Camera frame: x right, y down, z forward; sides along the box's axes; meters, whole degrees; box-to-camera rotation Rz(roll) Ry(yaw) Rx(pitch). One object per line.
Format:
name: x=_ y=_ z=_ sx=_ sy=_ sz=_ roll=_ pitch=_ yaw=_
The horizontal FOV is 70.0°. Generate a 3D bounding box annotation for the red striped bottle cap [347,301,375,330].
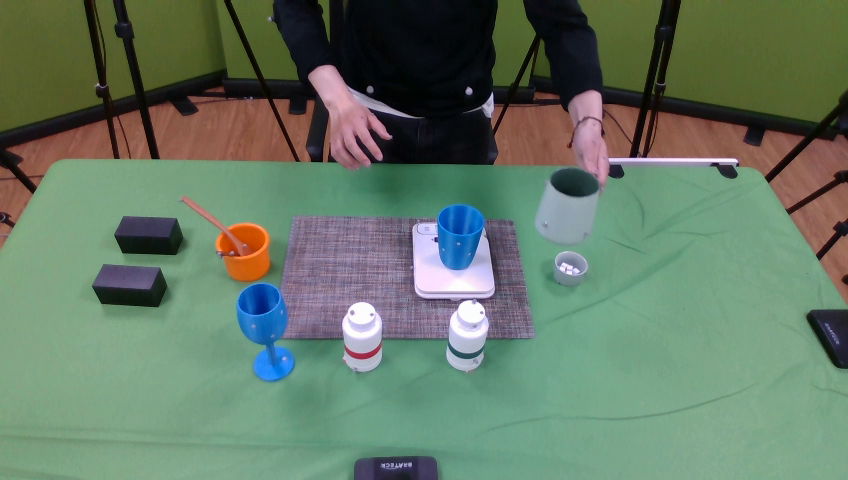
red striped bottle cap: x=-0.097 y=0.116 z=0.934 sx=0.044 sy=0.018 sz=0.044 roll=3 pitch=49 yaw=-3

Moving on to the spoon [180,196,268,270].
spoon: x=-0.360 y=-0.014 z=1.094 sx=0.021 sy=0.194 sz=0.041 roll=-27 pitch=26 yaw=32

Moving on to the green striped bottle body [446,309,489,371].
green striped bottle body: x=0.070 y=0.155 z=0.984 sx=0.063 sy=0.120 sz=0.063 roll=2 pitch=46 yaw=-2

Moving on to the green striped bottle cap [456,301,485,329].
green striped bottle cap: x=0.073 y=0.116 z=0.943 sx=0.044 sy=0.020 sz=0.044 roll=3 pitch=46 yaw=-3

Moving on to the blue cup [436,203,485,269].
blue cup: x=0.061 y=-0.001 z=1.099 sx=0.093 sy=0.101 sz=0.092 roll=2 pitch=44 yaw=-2

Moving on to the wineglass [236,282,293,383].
wineglass: x=-0.243 y=0.143 z=0.934 sx=0.074 sy=0.173 sz=0.073 roll=2 pitch=46 yaw=-2

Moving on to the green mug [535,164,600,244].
green mug: x=0.238 y=-0.065 z=0.975 sx=0.092 sy=0.105 sz=0.125 roll=28 pitch=49 yaw=24

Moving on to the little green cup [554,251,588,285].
little green cup: x=0.276 y=0.055 z=1.151 sx=0.061 sy=0.039 sz=0.061 roll=1 pitch=47 yaw=-1

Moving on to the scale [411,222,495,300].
scale: x=0.052 y=0.031 z=1.158 sx=0.149 sy=0.032 sz=0.199 roll=1 pitch=46 yaw=-4

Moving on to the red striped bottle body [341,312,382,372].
red striped bottle body: x=-0.100 y=0.154 z=0.972 sx=0.063 sy=0.120 sz=0.062 roll=2 pitch=46 yaw=-1

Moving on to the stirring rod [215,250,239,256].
stirring rod: x=-0.339 y=0.024 z=1.059 sx=0.014 sy=0.176 sz=0.006 roll=16 pitch=86 yaw=-6
